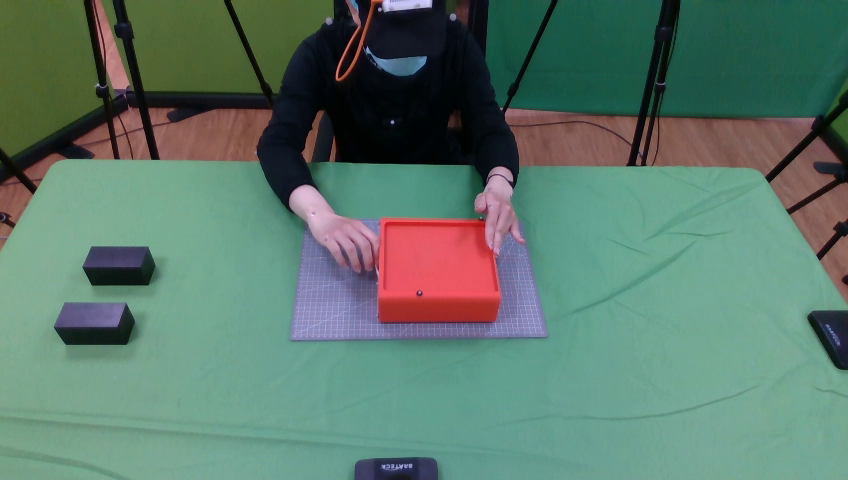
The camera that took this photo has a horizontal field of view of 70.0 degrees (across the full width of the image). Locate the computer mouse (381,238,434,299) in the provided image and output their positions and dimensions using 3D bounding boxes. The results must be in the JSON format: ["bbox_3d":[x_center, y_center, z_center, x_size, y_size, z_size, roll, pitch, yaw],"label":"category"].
[{"bbox_3d":[-0.029,0.050,1.106,0.063,0.041,0.117,28,62,2],"label":"computer mouse"}]

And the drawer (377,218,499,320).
[{"bbox_3d":[0.020,0.051,1.102,0.212,0.073,0.193,1,46,-3],"label":"drawer"}]

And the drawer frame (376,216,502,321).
[{"bbox_3d":[0.022,0.049,1.102,0.214,0.083,0.200,0,46,-4],"label":"drawer frame"}]
